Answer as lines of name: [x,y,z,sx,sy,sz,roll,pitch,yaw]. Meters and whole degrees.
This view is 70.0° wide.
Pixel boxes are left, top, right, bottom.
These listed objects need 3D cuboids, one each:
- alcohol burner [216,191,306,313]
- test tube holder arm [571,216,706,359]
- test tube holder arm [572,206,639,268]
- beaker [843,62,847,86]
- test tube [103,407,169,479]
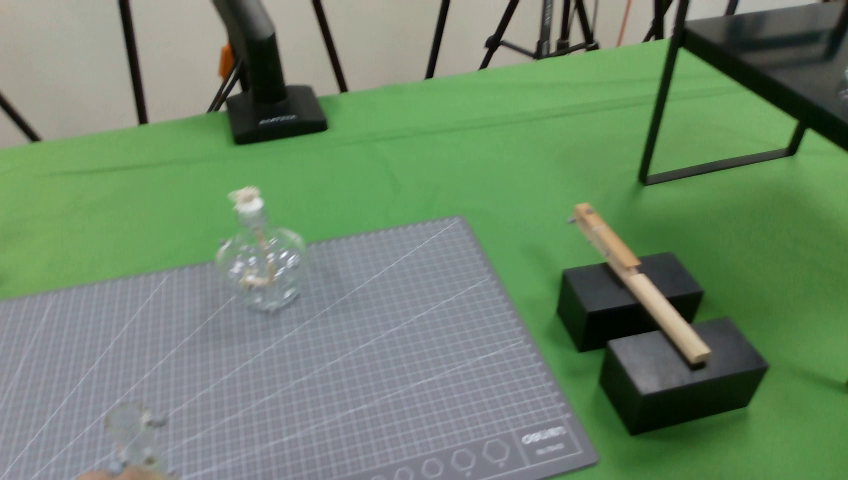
alcohol burner: [-0.142,0.006,0.521,0.078,0.120,0.077,1,41,0]
test tube holder arm: [0.167,0.029,0.489,0.015,0.013,0.176,-7,38,-16]
test tube holder arm: [0.154,-0.002,0.519,0.015,0.010,0.087,-6,39,-16]
beaker: [0.358,-0.154,0.437,0.084,0.101,0.073,-4,40,-3]
test tube: [-0.121,0.134,0.285,0.017,0.151,0.017,0,34,0]
